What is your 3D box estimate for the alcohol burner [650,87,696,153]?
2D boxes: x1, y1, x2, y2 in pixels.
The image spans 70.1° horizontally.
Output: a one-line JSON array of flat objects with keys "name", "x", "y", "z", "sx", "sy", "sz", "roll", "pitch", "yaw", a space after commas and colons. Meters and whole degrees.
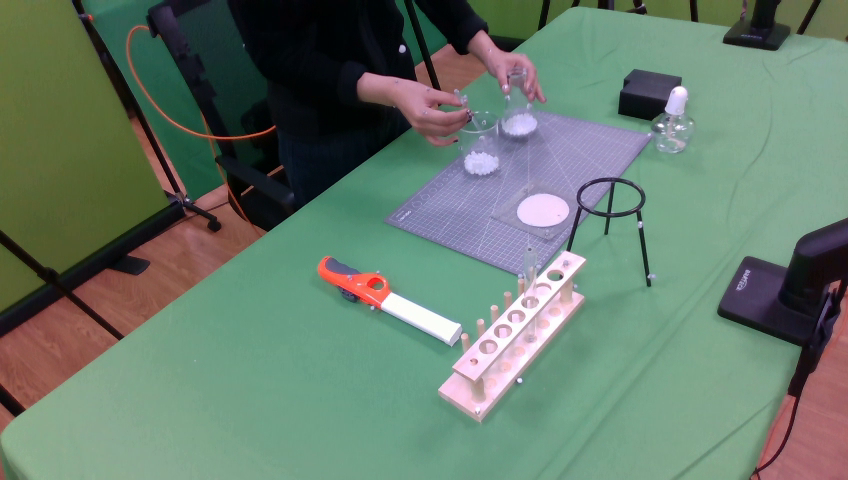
[{"name": "alcohol burner", "x": 0.448, "y": -0.217, "z": 1.084, "sx": 0.078, "sy": 0.119, "sz": 0.077, "roll": -6, "pitch": 38, "yaw": 5}]

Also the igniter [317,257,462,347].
[{"name": "igniter", "x": -0.061, "y": 0.086, "z": 0.891, "sx": 0.274, "sy": 0.025, "sz": 0.057, "roll": 23, "pitch": 59, "yaw": 33}]

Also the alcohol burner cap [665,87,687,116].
[{"name": "alcohol burner cap", "x": 0.445, "y": -0.244, "z": 1.060, "sx": 0.034, "sy": 0.048, "sz": 0.033, "roll": -2, "pitch": 45, "yaw": 3}]

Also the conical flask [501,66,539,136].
[{"name": "conical flask", "x": 0.177, "y": -0.265, "z": 1.139, "sx": 0.075, "sy": 0.122, "sz": 0.075, "roll": -7, "pitch": 42, "yaw": 7}]

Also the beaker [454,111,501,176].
[{"name": "beaker", "x": 0.101, "y": -0.174, "z": 1.106, "sx": 0.084, "sy": 0.101, "sz": 0.073, "roll": -5, "pitch": 40, "yaw": 6}]

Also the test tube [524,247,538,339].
[{"name": "test tube", "x": 0.133, "y": 0.070, "z": 0.749, "sx": 0.017, "sy": 0.151, "sz": 0.017, "roll": -5, "pitch": 38, "yaw": 4}]

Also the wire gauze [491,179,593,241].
[{"name": "wire gauze", "x": 0.198, "y": -0.051, "z": 1.014, "sx": 0.125, "sy": 0.011, "sz": 0.120, "roll": -38, "pitch": 48, "yaw": -27}]

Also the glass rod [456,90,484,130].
[{"name": "glass rod", "x": 0.080, "y": -0.218, "z": 1.027, "sx": 0.008, "sy": 0.201, "sz": 0.008, "roll": -2, "pitch": 83, "yaw": 17}]

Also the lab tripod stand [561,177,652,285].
[{"name": "lab tripod stand", "x": 0.263, "y": -0.014, "z": 0.864, "sx": 0.148, "sy": 0.132, "sz": 0.147, "roll": -7, "pitch": 38, "yaw": 6}]

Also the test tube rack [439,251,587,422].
[{"name": "test tube rack", "x": 0.118, "y": 0.111, "z": 0.780, "sx": 0.066, "sy": 0.085, "sz": 0.243, "roll": 26, "pitch": 51, "yaw": 34}]
